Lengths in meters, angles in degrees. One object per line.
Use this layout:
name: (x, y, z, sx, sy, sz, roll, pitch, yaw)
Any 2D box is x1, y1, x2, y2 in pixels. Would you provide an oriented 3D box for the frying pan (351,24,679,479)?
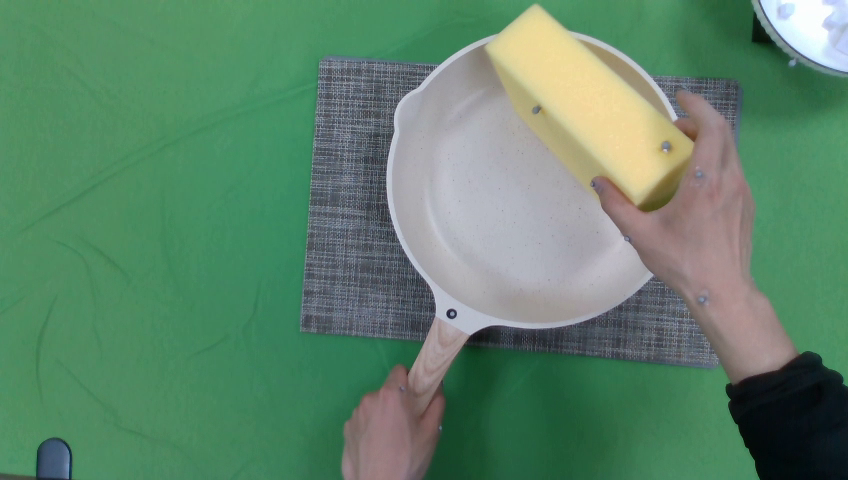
frying pan: (0.054, 0.023, 0.605, 0.306, 0.103, 0.487, 30, 84, 4)

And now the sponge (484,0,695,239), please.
sponge: (0.147, -0.110, 0.549, 0.061, 0.119, 0.205, -37, 61, 4)

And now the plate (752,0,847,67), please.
plate: (0.404, -0.263, 0.570, 0.207, 0.039, 0.207, 0, 90, 2)
